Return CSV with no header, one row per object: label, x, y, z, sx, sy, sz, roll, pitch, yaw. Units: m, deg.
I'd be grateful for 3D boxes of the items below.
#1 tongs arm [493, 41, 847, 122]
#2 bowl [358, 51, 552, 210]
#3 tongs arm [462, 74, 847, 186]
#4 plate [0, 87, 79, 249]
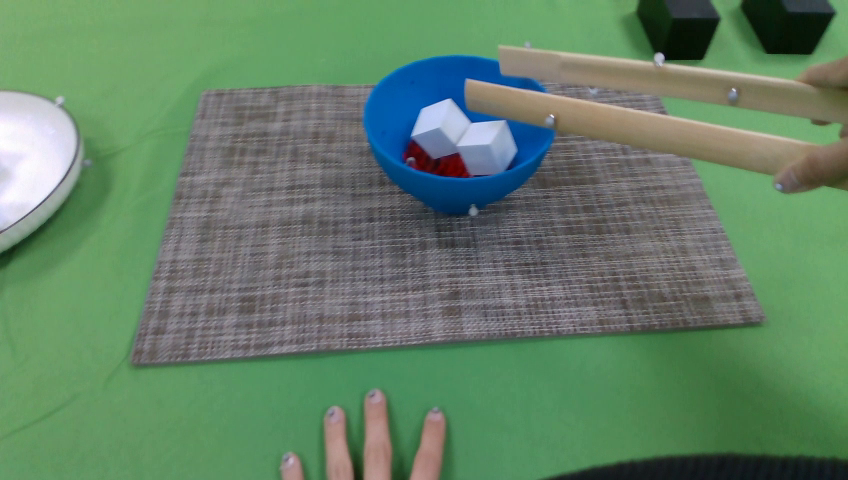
tongs arm,0.212,-0.080,0.368,0.382,0.027,0.050,15,50,24
bowl,0.024,-0.078,0.494,0.151,0.077,0.150,0,51,0
tongs arm,0.196,-0.059,0.351,0.385,0.028,0.028,17,47,25
plate,-0.391,-0.048,0.496,0.209,0.038,0.207,1,52,0
